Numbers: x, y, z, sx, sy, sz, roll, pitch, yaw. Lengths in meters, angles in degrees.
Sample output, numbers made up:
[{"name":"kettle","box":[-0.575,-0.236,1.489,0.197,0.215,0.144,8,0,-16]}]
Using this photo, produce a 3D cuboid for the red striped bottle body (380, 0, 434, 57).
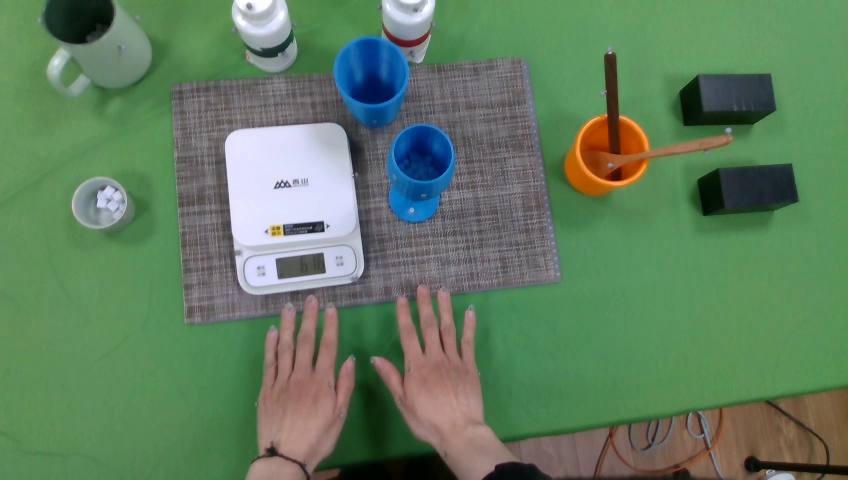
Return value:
[{"name":"red striped bottle body","box":[-0.021,-0.279,0.739,0.063,0.120,0.063,1,80,-5]}]

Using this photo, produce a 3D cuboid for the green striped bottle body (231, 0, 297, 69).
[{"name":"green striped bottle body","box":[-0.190,-0.258,0.721,0.063,0.119,0.063,1,80,-5]}]

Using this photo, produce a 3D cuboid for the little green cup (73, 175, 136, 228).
[{"name":"little green cup","box":[-0.372,-0.043,0.711,0.061,0.039,0.061,1,81,-5]}]

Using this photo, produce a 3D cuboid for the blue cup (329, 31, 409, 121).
[{"name":"blue cup","box":[-0.062,-0.187,0.727,0.093,0.100,0.092,1,83,-4]}]

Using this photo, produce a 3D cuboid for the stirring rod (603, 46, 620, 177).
[{"name":"stirring rod","box":[0.224,-0.147,0.722,0.014,0.178,0.006,6,45,26]}]

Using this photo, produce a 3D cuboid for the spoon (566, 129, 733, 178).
[{"name":"spoon","box":[0.261,-0.106,0.720,0.022,0.193,0.041,-5,89,-49]}]

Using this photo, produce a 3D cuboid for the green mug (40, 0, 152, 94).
[{"name":"green mug","box":[-0.389,-0.227,0.707,0.092,0.105,0.125,28,79,0]}]

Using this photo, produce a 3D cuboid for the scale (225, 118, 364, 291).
[{"name":"scale","box":[-0.156,-0.045,0.730,0.149,0.031,0.200,-7,82,-6]}]

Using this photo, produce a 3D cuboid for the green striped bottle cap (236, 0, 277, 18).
[{"name":"green striped bottle cap","box":[-0.186,-0.269,0.666,0.044,0.020,0.044,1,80,-3]}]

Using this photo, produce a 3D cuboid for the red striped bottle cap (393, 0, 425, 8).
[{"name":"red striped bottle cap","box":[-0.017,-0.287,0.686,0.044,0.018,0.044,1,78,-4]}]

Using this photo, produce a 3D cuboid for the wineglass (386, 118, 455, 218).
[{"name":"wineglass","box":[-0.008,-0.074,0.675,0.074,0.172,0.073,1,80,-4]}]
